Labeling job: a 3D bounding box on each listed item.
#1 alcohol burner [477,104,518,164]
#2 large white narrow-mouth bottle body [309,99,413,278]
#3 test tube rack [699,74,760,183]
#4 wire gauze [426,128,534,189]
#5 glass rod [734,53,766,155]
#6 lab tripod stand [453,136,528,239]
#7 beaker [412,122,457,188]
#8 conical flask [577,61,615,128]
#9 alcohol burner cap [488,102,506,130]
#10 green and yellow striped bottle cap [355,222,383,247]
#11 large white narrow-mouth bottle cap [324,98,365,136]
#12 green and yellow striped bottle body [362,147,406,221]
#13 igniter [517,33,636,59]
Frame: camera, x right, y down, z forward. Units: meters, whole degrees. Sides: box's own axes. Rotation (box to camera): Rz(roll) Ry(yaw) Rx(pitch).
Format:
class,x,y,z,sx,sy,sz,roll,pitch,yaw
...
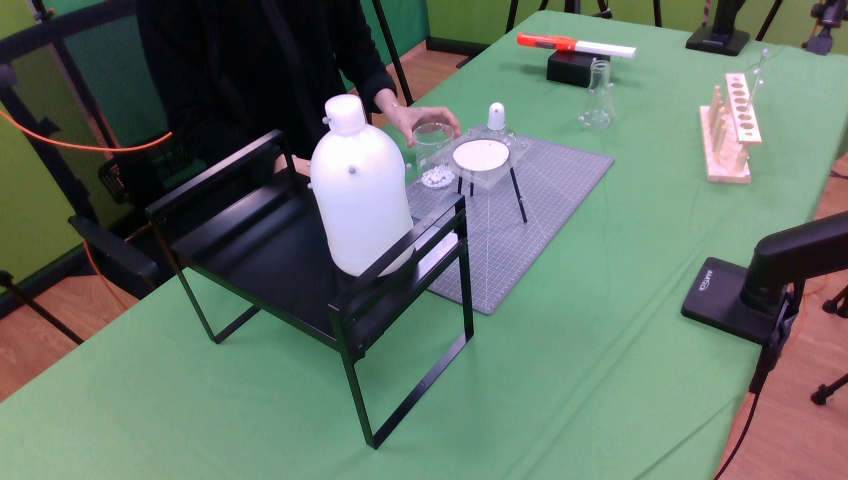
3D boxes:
class,x,y,z,sx,sy,sz,roll,pitch,yaw
alcohol burner,0.135,-0.200,1.117,0.078,0.119,0.077,-4,43,4
large white narrow-mouth bottle body,-0.068,-0.057,0.644,0.102,0.195,0.101,-3,42,4
test tube rack,0.547,-0.208,1.095,0.066,0.085,0.242,6,42,16
wire gauze,0.086,-0.131,0.924,0.124,0.011,0.122,26,52,33
glass rod,0.540,-0.220,1.006,0.008,0.201,0.008,-5,45,6
lab tripod stand,0.094,-0.086,0.974,0.148,0.132,0.147,-4,43,4
beaker,0.022,-0.152,1.088,0.073,0.100,0.084,13,44,21
conical flask,0.343,-0.288,1.188,0.075,0.122,0.075,-4,41,4
alcohol burner cap,0.133,-0.227,1.092,0.034,0.048,0.033,-1,47,2
green and yellow striped bottle cap,-0.092,-0.009,1.001,0.045,0.020,0.045,-2,39,2
large white narrow-mouth bottle cap,-0.076,-0.119,0.585,0.038,0.024,0.037,-3,42,3
green and yellow striped bottle body,-0.068,-0.097,1.019,0.063,0.120,0.063,-4,40,4
igniter,0.336,-0.441,1.369,0.275,0.025,0.057,16,41,23
